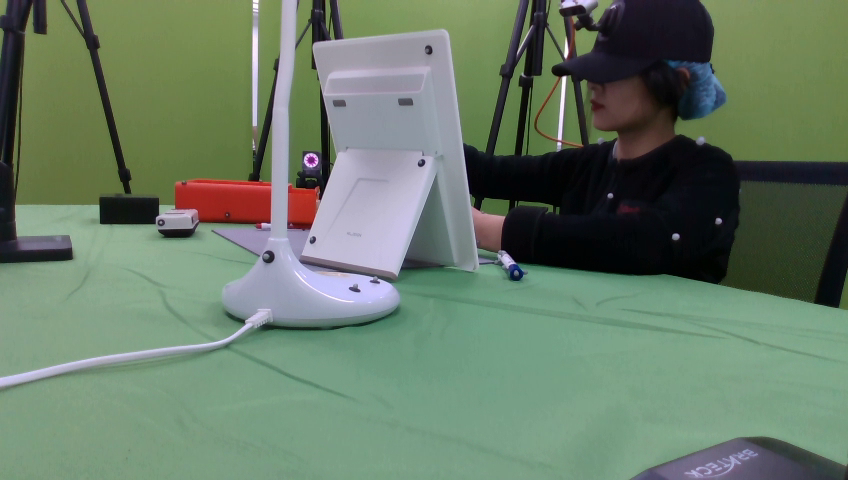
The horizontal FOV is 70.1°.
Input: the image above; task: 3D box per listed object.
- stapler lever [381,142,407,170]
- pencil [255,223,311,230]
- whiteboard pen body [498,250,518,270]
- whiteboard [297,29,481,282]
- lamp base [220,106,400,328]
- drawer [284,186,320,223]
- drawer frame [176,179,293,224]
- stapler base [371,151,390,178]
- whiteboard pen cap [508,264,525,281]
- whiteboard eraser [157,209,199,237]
[{"bbox_3d":[-0.056,-0.154,1.114,0.040,0.027,0.118,-29,3,-6],"label":"stapler lever"},{"bbox_3d":[-0.216,-0.022,1.134,0.195,0.012,0.012,2,7,-21],"label":"pencil"},{"bbox_3d":[0.115,0.032,0.810,0.017,0.017,0.140,2,8,-1],"label":"whiteboard pen body"},{"bbox_3d":[-0.075,-0.082,0.741,0.216,0.305,0.144,9,29,37],"label":"whiteboard"},{"bbox_3d":[-0.101,-0.023,0.531,0.160,0.180,0.179,4,10,10],"label":"lamp base"},{"bbox_3d":[-0.333,-0.082,1.310,0.212,0.073,0.194,1,8,-8],"label":"drawer"},{"bbox_3d":[-0.395,-0.086,1.299,0.214,0.082,0.201,1,8,-9],"label":"drawer frame"},{"bbox_3d":[-0.075,-0.142,1.110,0.024,0.041,0.130,-29,3,-8],"label":"stapler base"},{"bbox_3d":[0.114,0.039,0.752,0.018,0.018,0.033,2,9,0],"label":"whiteboard pen cap"},{"bbox_3d":[-0.411,-0.029,1.016,0.056,0.042,0.112,2,7,-16],"label":"whiteboard eraser"}]
